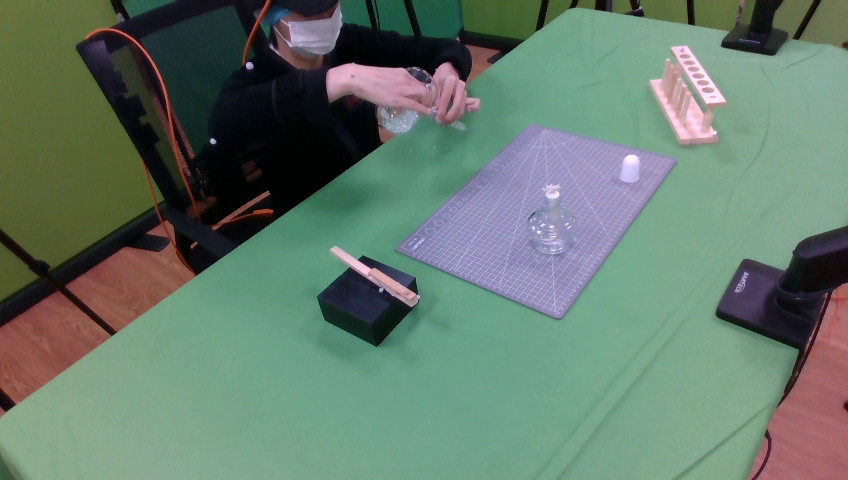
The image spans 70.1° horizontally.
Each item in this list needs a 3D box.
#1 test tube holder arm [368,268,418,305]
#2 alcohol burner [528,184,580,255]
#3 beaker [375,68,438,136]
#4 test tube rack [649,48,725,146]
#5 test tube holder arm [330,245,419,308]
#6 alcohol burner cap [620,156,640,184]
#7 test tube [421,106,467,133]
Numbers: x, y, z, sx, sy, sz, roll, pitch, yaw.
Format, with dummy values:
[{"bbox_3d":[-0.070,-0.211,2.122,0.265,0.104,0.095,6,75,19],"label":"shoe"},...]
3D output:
[{"bbox_3d":[-0.043,0.063,0.827,0.015,0.010,0.087,-36,47,-29],"label":"test tube holder arm"},{"bbox_3d":[0.196,-0.036,0.911,0.078,0.119,0.077,-6,41,5],"label":"alcohol burner"},{"bbox_3d":[-0.030,-0.224,1.000,0.073,0.084,0.100,4,43,31],"label":"beaker"},{"bbox_3d":[0.508,-0.285,1.186,0.067,0.085,0.241,-4,40,6],"label":"test tube rack"},{"bbox_3d":[-0.074,0.049,0.857,0.015,0.013,0.177,-36,48,-29],"label":"test tube holder arm"},{"bbox_3d":[0.358,-0.124,1.047,0.034,0.048,0.033,-4,40,4],"label":"alcohol burner cap"},{"bbox_3d":[0.039,-0.221,1.114,0.017,0.017,0.151,21,7,31],"label":"test tube"}]
